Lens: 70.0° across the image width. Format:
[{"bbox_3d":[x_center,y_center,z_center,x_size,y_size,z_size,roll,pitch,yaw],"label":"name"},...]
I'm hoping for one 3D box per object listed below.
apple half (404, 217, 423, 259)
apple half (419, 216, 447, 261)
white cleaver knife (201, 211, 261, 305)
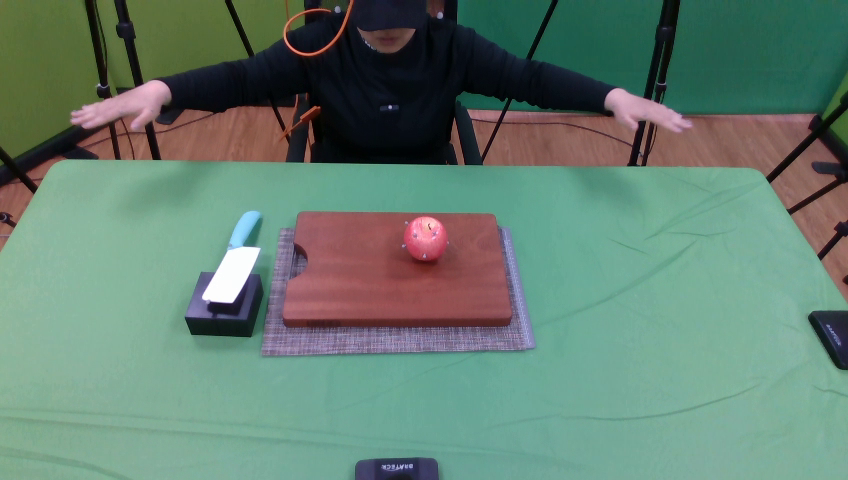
[{"bbox_3d":[-0.022,-0.002,1.121,0.033,0.081,0.081,3,46,-7],"label":"apple half"},{"bbox_3d":[0.016,0.000,1.125,0.053,0.075,0.080,4,43,-6],"label":"apple half"},{"bbox_3d":[-0.336,0.029,1.110,0.066,0.021,0.285,6,34,-3],"label":"white cleaver knife"}]
